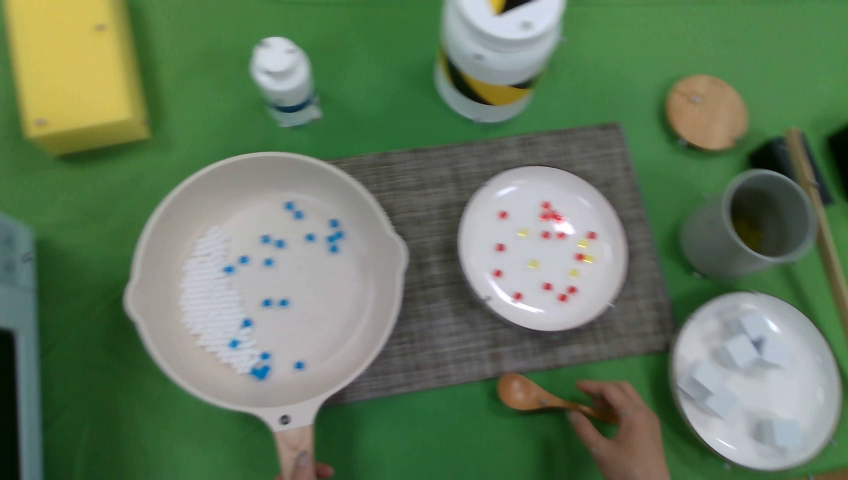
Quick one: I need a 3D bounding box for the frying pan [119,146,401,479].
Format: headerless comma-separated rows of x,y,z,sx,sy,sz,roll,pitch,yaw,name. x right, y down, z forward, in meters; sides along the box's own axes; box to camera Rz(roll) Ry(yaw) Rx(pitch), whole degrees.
-0.158,0.136,0.657,0.307,0.103,0.484,-10,70,-4,frying pan

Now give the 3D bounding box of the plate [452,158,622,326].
0.136,0.003,0.744,0.209,0.038,0.208,1,78,-4,plate

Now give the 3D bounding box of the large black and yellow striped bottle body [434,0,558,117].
0.083,-0.243,0.724,0.131,0.184,0.130,1,76,-4,large black and yellow striped bottle body

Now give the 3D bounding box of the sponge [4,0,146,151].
-0.426,-0.224,0.740,0.118,0.061,0.206,-14,80,-8,sponge

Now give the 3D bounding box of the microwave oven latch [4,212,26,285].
-0.467,0.011,0.678,0.030,0.029,0.079,-7,79,-7,microwave oven latch

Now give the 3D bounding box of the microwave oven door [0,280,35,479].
-0.427,0.199,0.535,0.039,0.244,0.354,-9,78,-6,microwave oven door

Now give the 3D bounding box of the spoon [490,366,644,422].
0.170,0.189,0.716,0.194,0.022,0.041,15,60,-1,spoon

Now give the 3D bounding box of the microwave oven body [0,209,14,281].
-0.578,0.179,0.532,0.326,0.261,0.439,-8,79,-7,microwave oven body

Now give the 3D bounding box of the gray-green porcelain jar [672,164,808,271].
0.369,-0.021,0.726,0.106,0.127,0.105,1,77,-4,gray-green porcelain jar

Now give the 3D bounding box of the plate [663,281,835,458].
0.387,0.154,0.734,0.208,0.039,0.206,1,77,-4,plate

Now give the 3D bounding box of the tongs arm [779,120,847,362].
0.510,0.036,0.742,0.051,0.026,0.384,-14,89,-9,tongs arm

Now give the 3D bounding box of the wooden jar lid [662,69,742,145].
0.372,-0.177,0.816,0.108,0.021,0.108,1,79,-4,wooden jar lid

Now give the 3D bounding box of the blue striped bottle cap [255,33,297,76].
-0.165,-0.207,0.674,0.044,0.021,0.044,1,75,-2,blue striped bottle cap

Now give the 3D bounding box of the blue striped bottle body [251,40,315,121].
-0.168,-0.196,0.725,0.063,0.121,0.063,1,77,-4,blue striped bottle body

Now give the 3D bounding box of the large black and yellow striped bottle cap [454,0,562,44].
0.089,-0.263,0.641,0.115,0.019,0.114,1,76,-3,large black and yellow striped bottle cap
